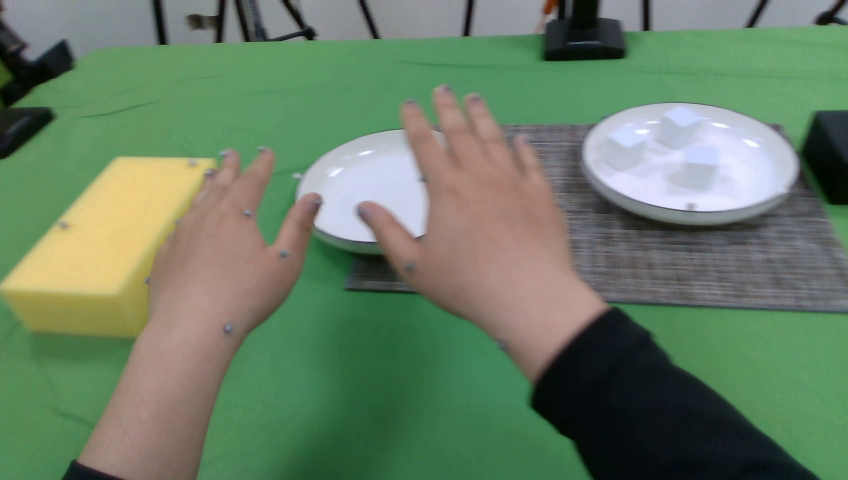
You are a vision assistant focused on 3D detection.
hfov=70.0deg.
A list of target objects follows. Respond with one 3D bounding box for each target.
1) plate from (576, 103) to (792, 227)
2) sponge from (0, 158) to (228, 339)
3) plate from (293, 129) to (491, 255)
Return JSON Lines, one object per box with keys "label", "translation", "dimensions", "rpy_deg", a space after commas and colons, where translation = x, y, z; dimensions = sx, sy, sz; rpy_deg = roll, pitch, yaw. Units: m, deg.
{"label": "plate", "translation": [0.265, -0.077, 0.637], "dimensions": [0.207, 0.039, 0.205], "rpy_deg": [-4, 41, 3]}
{"label": "sponge", "translation": [-0.297, 0.000, 0.610], "dimensions": [0.118, 0.061, 0.205], "rpy_deg": [2, 41, 8]}
{"label": "plate", "translation": [-0.032, -0.050, 0.645], "dimensions": [0.209, 0.038, 0.207], "rpy_deg": [-4, 40, 3]}
